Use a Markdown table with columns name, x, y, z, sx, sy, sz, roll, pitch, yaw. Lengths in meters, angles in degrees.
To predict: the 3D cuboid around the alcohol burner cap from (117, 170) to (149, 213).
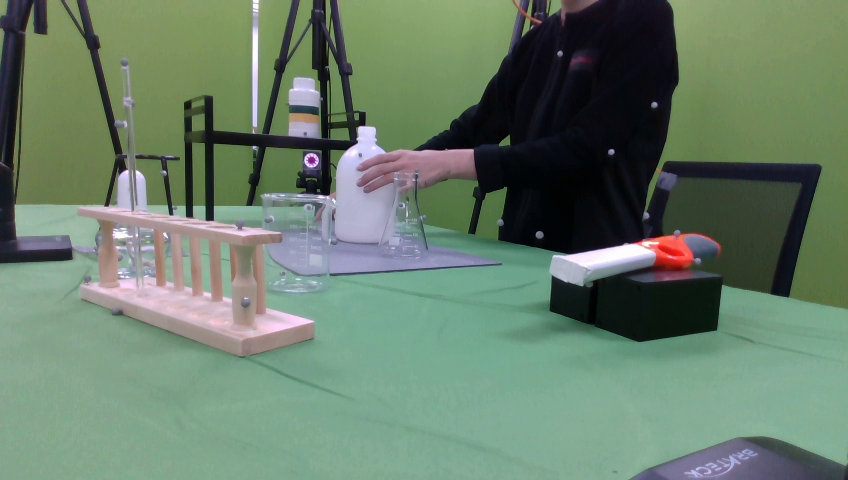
| name | x | y | z | sx | sy | sz | roll | pitch | yaw |
| --- | --- | --- | --- | --- | --- | --- | --- | --- | --- |
| alcohol burner cap | -0.320 | -0.052 | 0.661 | 0.034 | 0.048 | 0.034 | -3 | 0 | 0 |

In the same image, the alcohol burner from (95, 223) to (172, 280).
| name | x | y | z | sx | sy | sz | roll | pitch | yaw |
| --- | --- | --- | --- | --- | --- | --- | --- | --- | --- |
| alcohol burner | -0.320 | -0.016 | 0.667 | 0.078 | 0.119 | 0.078 | 0 | 7 | 0 |

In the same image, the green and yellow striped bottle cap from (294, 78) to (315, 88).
| name | x | y | z | sx | sy | sz | roll | pitch | yaw |
| --- | --- | --- | --- | --- | --- | --- | --- | --- | --- |
| green and yellow striped bottle cap | -0.248 | -0.324 | 1.256 | 0.045 | 0.020 | 0.045 | 4 | 8 | 0 |

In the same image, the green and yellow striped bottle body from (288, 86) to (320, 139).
| name | x | y | z | sx | sy | sz | roll | pitch | yaw |
| --- | --- | --- | --- | --- | --- | --- | --- | --- | --- |
| green and yellow striped bottle body | -0.250 | -0.272 | 1.261 | 0.063 | 0.119 | 0.063 | 3 | 7 | 0 |

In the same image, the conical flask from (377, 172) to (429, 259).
| name | x | y | z | sx | sy | sz | roll | pitch | yaw |
| --- | --- | --- | --- | --- | --- | --- | --- | --- | --- |
| conical flask | -0.027 | -0.037 | 0.869 | 0.075 | 0.122 | 0.075 | 3 | 7 | 0 |

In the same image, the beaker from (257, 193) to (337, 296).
| name | x | y | z | sx | sy | sz | roll | pitch | yaw |
| --- | --- | --- | --- | --- | --- | --- | --- | --- | --- |
| beaker | -0.130 | 0.003 | 0.628 | 0.084 | 0.100 | 0.074 | 5 | 8 | 15 |

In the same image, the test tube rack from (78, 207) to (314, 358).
| name | x | y | z | sx | sy | sz | roll | pitch | yaw |
| --- | --- | --- | --- | --- | --- | --- | --- | --- | --- |
| test tube rack | -0.196 | 0.024 | 0.499 | 0.241 | 0.085 | 0.067 | 8 | 8 | 37 |

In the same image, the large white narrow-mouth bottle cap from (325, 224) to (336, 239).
| name | x | y | z | sx | sy | sz | roll | pitch | yaw |
| --- | --- | --- | --- | --- | --- | --- | --- | --- | --- |
| large white narrow-mouth bottle cap | -0.160 | -0.016 | 1.090 | 0.038 | 0.024 | 0.037 | 3 | 9 | 0 |

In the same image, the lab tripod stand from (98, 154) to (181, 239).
| name | x | y | z | sx | sy | sz | roll | pitch | yaw |
| --- | --- | --- | --- | --- | --- | --- | --- | --- | --- |
| lab tripod stand | -0.427 | -0.066 | 0.942 | 0.148 | 0.131 | 0.148 | 1 | 6 | 0 |

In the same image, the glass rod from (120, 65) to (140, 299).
| name | x | y | z | sx | sy | sz | roll | pitch | yaw |
| --- | --- | --- | --- | --- | --- | --- | --- | --- | --- |
| glass rod | -0.249 | -0.047 | 0.513 | 0.008 | 0.199 | 0.008 | -1 | 4 | 0 |

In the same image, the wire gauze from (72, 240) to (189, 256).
| name | x | y | z | sx | sy | sz | roll | pitch | yaw |
| --- | --- | --- | --- | --- | --- | --- | --- | --- | --- |
| wire gauze | -0.399 | 0.013 | 0.820 | 0.126 | 0.011 | 0.121 | -3 | 8 | -37 |

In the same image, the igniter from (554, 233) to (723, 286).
| name | x | y | z | sx | sy | sz | roll | pitch | yaw |
| --- | --- | --- | --- | --- | --- | --- | --- | --- | --- |
| igniter | 0.214 | 0.015 | 0.570 | 0.278 | 0.025 | 0.057 | -5 | 22 | -44 |

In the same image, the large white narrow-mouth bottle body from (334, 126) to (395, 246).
| name | x | y | z | sx | sy | sz | roll | pitch | yaw |
| --- | --- | --- | --- | --- | --- | --- | --- | --- | --- |
| large white narrow-mouth bottle body | -0.099 | -0.093 | 1.018 | 0.102 | 0.194 | 0.101 | 3 | 9 | 0 |
